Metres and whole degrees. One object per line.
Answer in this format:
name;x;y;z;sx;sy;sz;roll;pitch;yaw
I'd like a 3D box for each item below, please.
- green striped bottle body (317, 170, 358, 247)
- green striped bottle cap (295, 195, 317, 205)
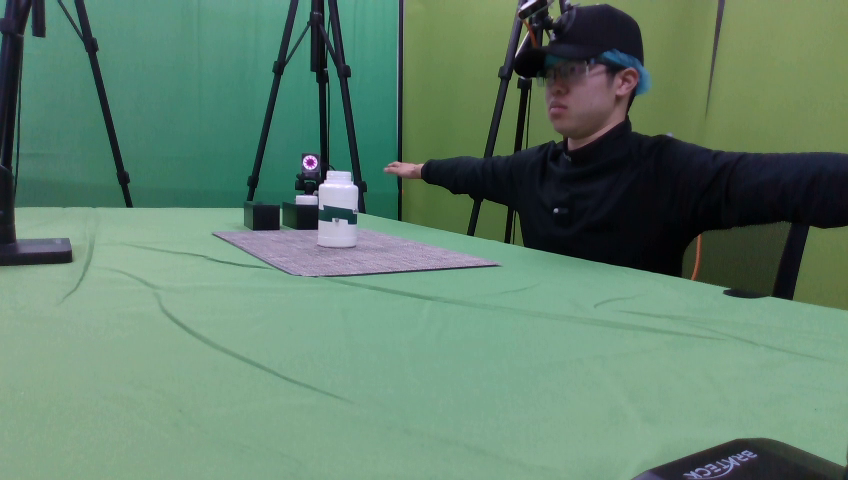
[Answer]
green striped bottle body;-0.138;-0.051;0.964;0.063;0.119;0.063;2;7;0
green striped bottle cap;-0.240;-0.082;1.228;0.044;0.020;0.044;1;5;0
